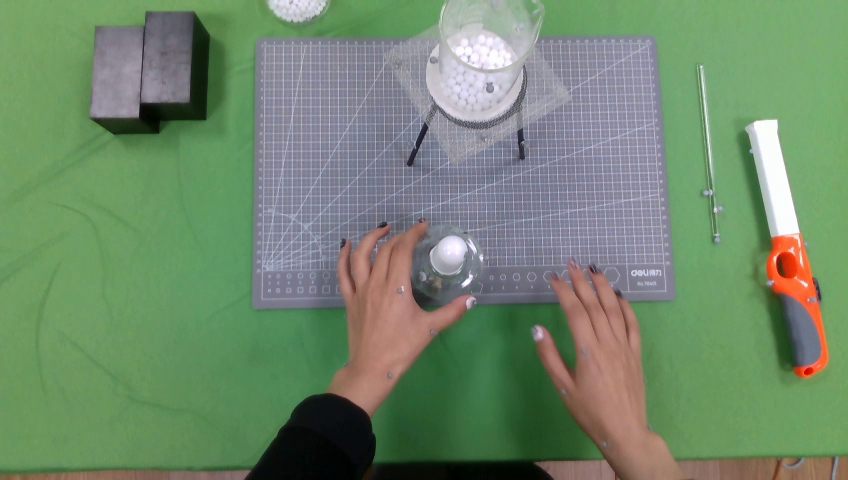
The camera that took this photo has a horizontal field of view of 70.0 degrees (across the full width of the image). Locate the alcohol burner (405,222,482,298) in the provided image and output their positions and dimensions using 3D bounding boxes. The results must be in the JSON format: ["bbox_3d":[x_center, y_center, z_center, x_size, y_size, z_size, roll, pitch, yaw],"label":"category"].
[{"bbox_3d":[0.020,0.017,0.593,0.078,0.119,0.077,1,80,-3],"label":"alcohol burner"}]

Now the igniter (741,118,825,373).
[{"bbox_3d":[0.387,0.003,0.653,0.057,0.025,0.275,-6,83,-13],"label":"igniter"}]

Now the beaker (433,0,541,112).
[{"bbox_3d":[0.047,-0.153,0.493,0.084,0.100,0.074,-22,84,-5],"label":"beaker"}]

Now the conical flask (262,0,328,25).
[{"bbox_3d":[-0.143,-0.285,0.628,0.075,0.122,0.075,0,81,-1],"label":"conical flask"}]

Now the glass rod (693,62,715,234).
[{"bbox_3d":[0.313,-0.104,0.675,0.008,0.008,0.199,-2,82,-2],"label":"glass rod"}]

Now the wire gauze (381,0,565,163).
[{"bbox_3d":[0.045,-0.147,0.541,0.125,0.011,0.121,-30,87,-7],"label":"wire gauze"}]

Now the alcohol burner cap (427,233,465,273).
[{"bbox_3d":[0.022,0.010,0.558,0.034,0.048,0.033,2,75,-9],"label":"alcohol burner cap"}]

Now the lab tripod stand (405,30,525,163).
[{"bbox_3d":[0.043,-0.133,0.605,0.148,0.131,0.148,0,84,-1],"label":"lab tripod stand"}]
